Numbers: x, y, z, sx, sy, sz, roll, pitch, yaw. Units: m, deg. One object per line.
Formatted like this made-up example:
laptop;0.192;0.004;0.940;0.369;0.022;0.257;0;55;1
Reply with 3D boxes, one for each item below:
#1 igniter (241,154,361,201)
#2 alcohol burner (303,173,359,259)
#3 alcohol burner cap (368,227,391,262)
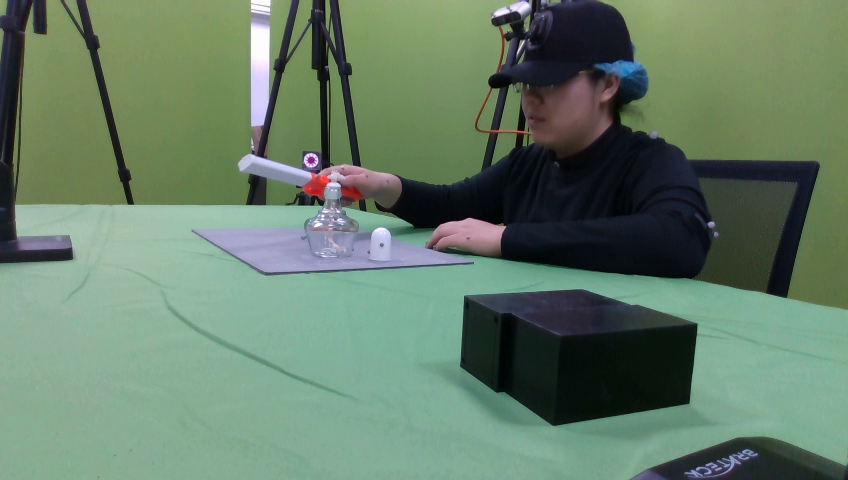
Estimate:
igniter;-0.194;-0.101;1.021;0.057;0.025;0.278;-29;-20;25
alcohol burner;-0.130;-0.034;0.850;0.078;0.119;0.078;2;5;0
alcohol burner cap;-0.060;0.006;0.836;0.034;0.048;0.034;3;7;0
